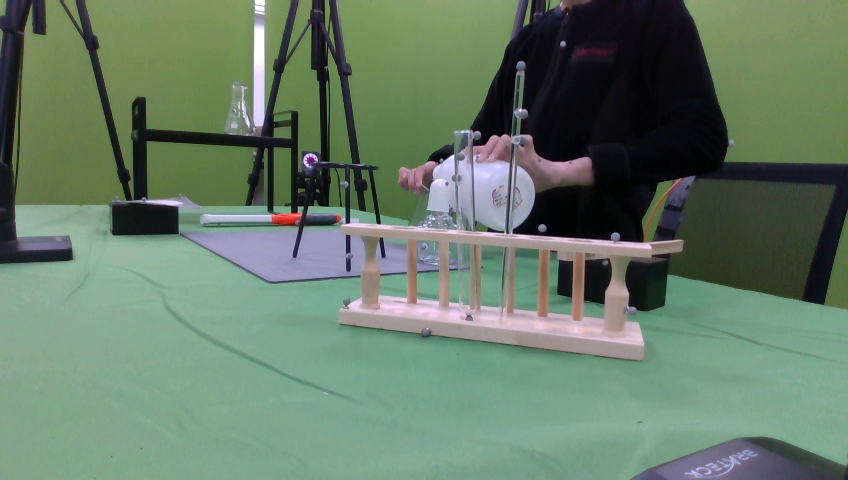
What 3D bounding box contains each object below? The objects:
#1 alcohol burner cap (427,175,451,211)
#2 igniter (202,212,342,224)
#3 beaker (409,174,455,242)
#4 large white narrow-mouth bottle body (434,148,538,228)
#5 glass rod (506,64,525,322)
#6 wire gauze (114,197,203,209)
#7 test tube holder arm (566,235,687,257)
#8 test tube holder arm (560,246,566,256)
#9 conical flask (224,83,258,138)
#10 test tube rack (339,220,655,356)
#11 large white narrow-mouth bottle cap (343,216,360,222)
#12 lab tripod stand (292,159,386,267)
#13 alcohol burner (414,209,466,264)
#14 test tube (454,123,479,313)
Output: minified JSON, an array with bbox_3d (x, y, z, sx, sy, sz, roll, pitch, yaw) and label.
[{"bbox_3d":[0.023,-0.064,0.822,0.034,0.048,0.034,7,4,0],"label":"alcohol burner cap"},{"bbox_3d":[-0.298,-0.044,1.216,0.278,0.025,0.057,-2,-2,-32],"label":"igniter"},{"bbox_3d":[0.018,-0.052,1.041,0.074,0.100,0.083,5,27,-23],"label":"beaker"},{"bbox_3d":[0.079,-0.089,0.938,0.102,0.101,0.193,-3,19,-33],"label":"large white narrow-mouth bottle body"},{"bbox_3d":[0.069,-0.030,0.458,0.008,0.199,0.008,0,15,0],"label":"glass rod"},{"bbox_3d":[-0.447,-0.062,1.015,0.126,0.011,0.121,-2,8,-31],"label":"wire gauze"},{"bbox_3d":[0.215,0.006,0.630,0.179,0.015,0.013,-3,9,-31],"label":"test tube holder arm"},{"bbox_3d":[0.173,0.007,0.611,0.088,0.015,0.010,-3,9,-30],"label":"test tube holder arm"},{"bbox_3d":[-0.422,-0.299,1.395,0.075,0.122,0.075,2,7,0],"label":"conical flask"},{"bbox_3d":[0.056,0.032,0.495,0.242,0.085,0.067,4,7,15],"label":"test tube rack"},{"bbox_3d":[-0.148,-0.036,1.234,0.038,0.024,0.037,2,8,0],"label":"large white narrow-mouth bottle cap"},{"bbox_3d":[-0.105,-0.039,0.798,0.148,0.131,0.148,2,5,0],"label":"lab tripod stand"},{"bbox_3d":[0.021,-0.028,0.826,0.078,0.119,0.078,0,6,0],"label":"alcohol burner"},{"bbox_3d":[0.034,-0.016,0.477,0.017,0.150,0.017,-2,9,1],"label":"test tube"}]
